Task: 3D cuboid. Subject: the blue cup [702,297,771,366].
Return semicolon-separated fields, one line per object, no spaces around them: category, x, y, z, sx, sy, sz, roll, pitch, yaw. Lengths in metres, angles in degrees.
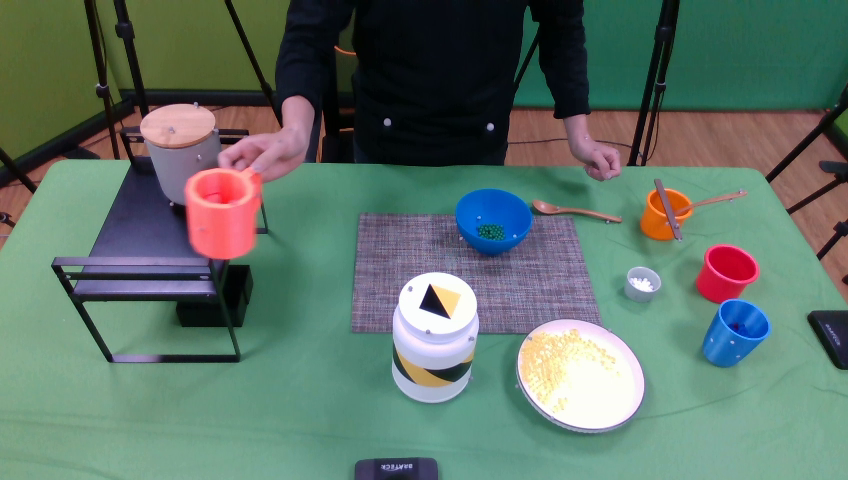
blue cup;0.519;0.162;1.025;0.093;0.101;0.092;3;45;-3

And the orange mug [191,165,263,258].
orange mug;-0.269;-0.049;0.858;0.083;0.101;0.126;23;46;9

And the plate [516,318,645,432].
plate;0.253;0.221;0.992;0.209;0.038;0.208;2;46;-2

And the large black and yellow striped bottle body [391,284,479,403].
large black and yellow striped bottle body;0.015;0.153;0.938;0.131;0.185;0.130;2;46;-2

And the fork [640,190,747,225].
fork;0.533;-0.064;1.211;0.207;0.019;0.028;-22;28;39

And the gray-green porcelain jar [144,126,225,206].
gray-green porcelain jar;-0.375;-0.125;0.967;0.106;0.127;0.105;3;46;-2

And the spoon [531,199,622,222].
spoon;0.321;-0.060;1.279;0.194;0.022;0.041;8;33;4

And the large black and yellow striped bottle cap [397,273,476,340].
large black and yellow striped bottle cap;0.018;0.094;0.878;0.115;0.019;0.114;3;46;-3

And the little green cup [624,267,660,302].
little green cup;0.406;0.084;1.135;0.061;0.039;0.061;3;45;-3

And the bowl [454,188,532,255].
bowl;0.131;-0.025;1.187;0.151;0.077;0.150;2;46;-2

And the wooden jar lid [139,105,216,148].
wooden jar lid;-0.372;-0.169;0.920;0.108;0.021;0.107;4;44;-4

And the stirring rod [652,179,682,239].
stirring rod;0.481;-0.065;1.204;0.014;0.006;0.175;1;46;-1
